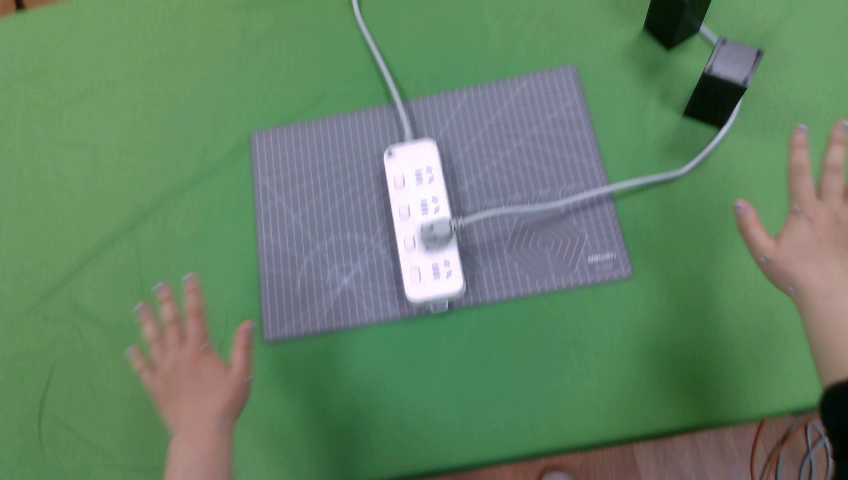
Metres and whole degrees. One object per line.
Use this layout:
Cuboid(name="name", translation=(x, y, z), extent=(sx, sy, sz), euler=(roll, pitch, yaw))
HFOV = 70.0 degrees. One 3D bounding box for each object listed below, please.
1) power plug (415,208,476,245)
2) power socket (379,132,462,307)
Cuboid(name="power plug", translation=(0.025, -0.012, 0.712), extent=(0.072, 0.053, 0.035), euler=(-1, 73, 6))
Cuboid(name="power socket", translation=(-0.006, -0.032, 0.742), extent=(0.072, 0.033, 0.225), euler=(-12, 71, 4))
